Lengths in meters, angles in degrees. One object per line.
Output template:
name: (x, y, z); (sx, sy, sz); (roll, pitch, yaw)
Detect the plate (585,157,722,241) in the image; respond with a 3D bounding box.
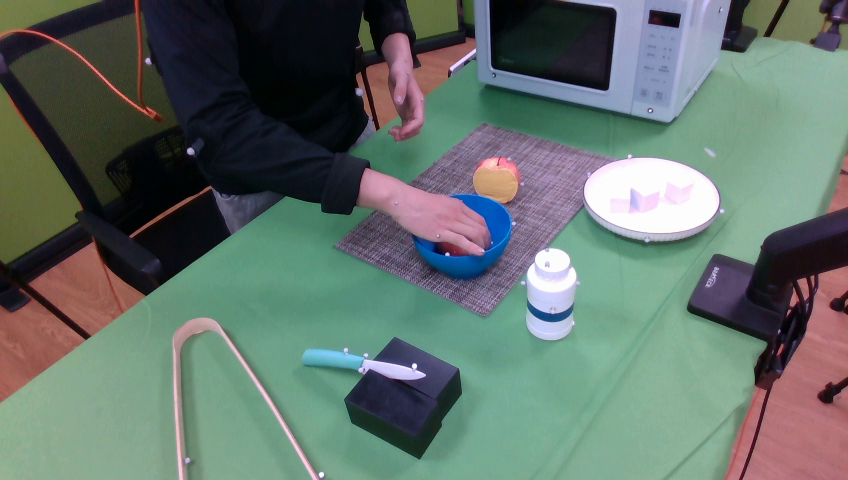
plate: (0.367, -0.063, 0.979); (0.207, 0.039, 0.206); (-4, 40, 4)

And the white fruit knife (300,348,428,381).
white fruit knife: (-0.079, 0.154, 0.748); (0.206, 0.027, 0.016); (0, 20, 34)

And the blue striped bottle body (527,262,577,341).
blue striped bottle body: (0.165, 0.070, 0.786); (0.063, 0.121, 0.063); (-4, 41, 4)

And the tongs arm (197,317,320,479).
tongs arm: (-0.199, 0.207, 0.750); (0.028, 0.028, 0.384); (-31, 45, -22)

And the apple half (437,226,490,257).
apple half: (0.057, -0.002, 0.900); (0.081, 0.033, 0.081); (1, 33, 0)

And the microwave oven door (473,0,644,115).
microwave oven door: (0.257, -0.396, 1.199); (0.353, 0.245, 0.039); (21, 48, 29)

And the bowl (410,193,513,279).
bowl: (0.058, 0.005, 0.905); (0.151, 0.077, 0.150); (-4, 41, 4)

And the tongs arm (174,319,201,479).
tongs arm: (-0.272, 0.234, 0.723); (0.051, 0.026, 0.381); (-19, 40, -15)

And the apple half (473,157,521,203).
apple half: (0.128, -0.107, 1.030); (0.080, 0.075, 0.053); (4, 38, 19)

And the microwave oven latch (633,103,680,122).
microwave oven latch: (0.444, -0.249, 1.158); (0.078, 0.029, 0.030); (21, 49, 30)

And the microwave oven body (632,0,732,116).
microwave oven body: (0.377, -0.463, 1.267); (0.438, 0.261, 0.327); (21, 49, 30)

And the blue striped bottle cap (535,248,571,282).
blue striped bottle cap: (0.161, 0.031, 0.753); (0.044, 0.021, 0.044); (-4, 42, 4)
